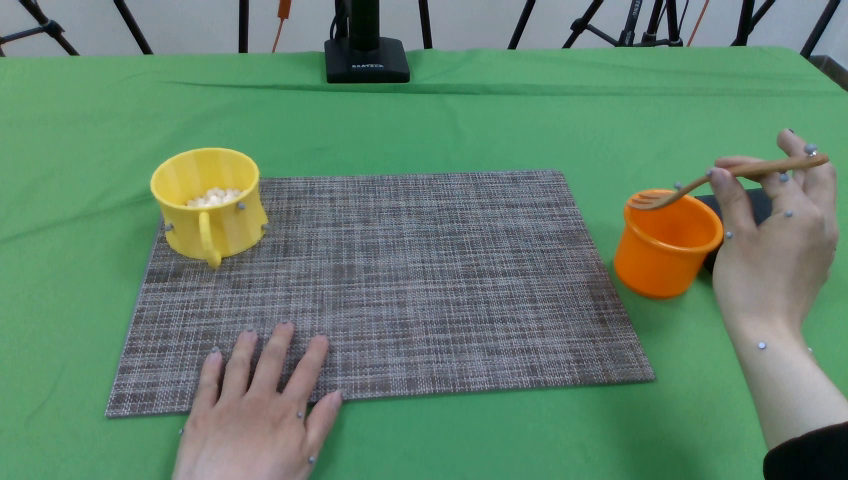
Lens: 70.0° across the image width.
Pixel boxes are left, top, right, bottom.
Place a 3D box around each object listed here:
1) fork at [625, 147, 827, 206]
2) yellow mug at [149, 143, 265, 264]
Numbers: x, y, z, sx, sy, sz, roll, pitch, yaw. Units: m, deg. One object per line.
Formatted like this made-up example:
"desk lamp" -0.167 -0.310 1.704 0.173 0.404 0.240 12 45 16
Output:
"fork" 0.225 -0.049 0.480 0.028 0.207 0.018 -32 92 -14
"yellow mug" -0.210 -0.032 0.596 0.100 0.064 0.129 -7 46 -12
